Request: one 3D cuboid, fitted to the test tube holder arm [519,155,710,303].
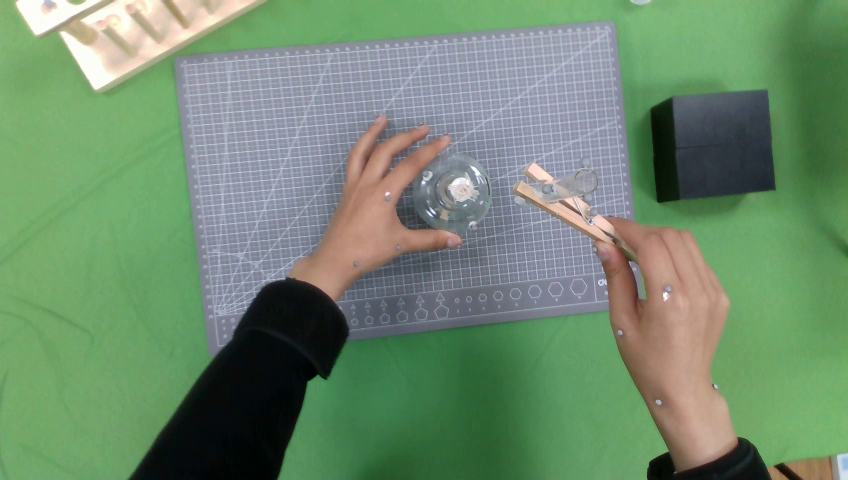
[{"bbox_3d":[0.143,-0.006,0.447,0.179,0.015,0.013,34,92,-10],"label":"test tube holder arm"}]

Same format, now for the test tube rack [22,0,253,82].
[{"bbox_3d":[-0.226,-0.243,0.559,0.242,0.085,0.067,-30,93,-3],"label":"test tube rack"}]

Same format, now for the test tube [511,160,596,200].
[{"bbox_3d":[0.086,-0.040,0.427,0.017,0.150,0.017,0,90,-6],"label":"test tube"}]

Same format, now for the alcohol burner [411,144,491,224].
[{"bbox_3d":[0.028,-0.054,0.568,0.078,0.119,0.078,0,92,-6],"label":"alcohol burner"}]

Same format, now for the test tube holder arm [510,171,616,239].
[{"bbox_3d":[0.102,-0.025,0.439,0.088,0.015,0.010,27,93,-10],"label":"test tube holder arm"}]
